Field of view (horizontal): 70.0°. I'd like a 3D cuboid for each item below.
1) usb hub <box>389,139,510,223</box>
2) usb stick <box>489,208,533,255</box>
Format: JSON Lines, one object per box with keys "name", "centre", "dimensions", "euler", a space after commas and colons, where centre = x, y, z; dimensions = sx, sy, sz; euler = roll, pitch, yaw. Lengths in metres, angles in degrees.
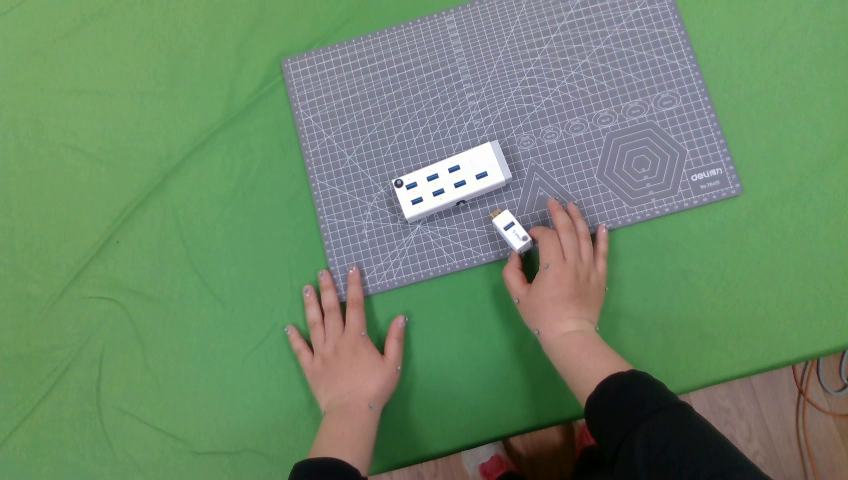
{"name": "usb hub", "centre": [0.028, -0.065, 0.664], "dimensions": [0.125, 0.025, 0.049], "euler": [-21, 79, 3]}
{"name": "usb stick", "centre": [0.089, -0.013, 0.645], "dimensions": [0.021, 0.027, 0.058], "euler": [-38, 61, 1]}
